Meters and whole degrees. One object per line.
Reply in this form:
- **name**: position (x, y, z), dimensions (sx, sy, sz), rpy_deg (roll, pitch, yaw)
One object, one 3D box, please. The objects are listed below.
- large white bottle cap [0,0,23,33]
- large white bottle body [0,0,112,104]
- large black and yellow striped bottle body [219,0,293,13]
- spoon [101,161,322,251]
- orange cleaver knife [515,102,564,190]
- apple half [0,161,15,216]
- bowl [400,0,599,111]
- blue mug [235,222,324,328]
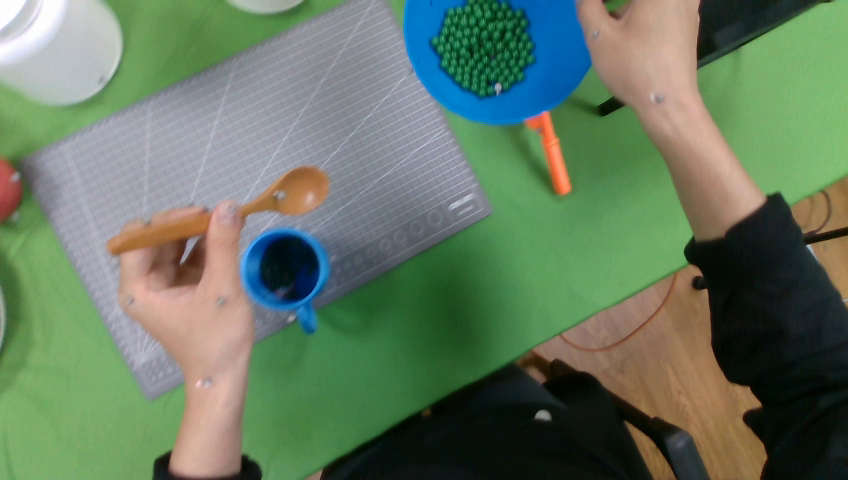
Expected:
- **large white bottle cap**: position (-0.394, -0.218, 0.500), dimensions (0.115, 0.018, 0.114), rpy_deg (0, 90, -7)
- **large white bottle body**: position (-0.403, -0.216, 0.584), dimensions (0.131, 0.184, 0.130), rpy_deg (0, 89, -7)
- **large black and yellow striped bottle body**: position (-0.186, -0.326, 0.613), dimensions (0.131, 0.184, 0.130), rpy_deg (0, 89, -6)
- **spoon**: position (-0.136, -0.024, 0.428), dimensions (0.021, 0.194, 0.042), rpy_deg (21, 114, 19)
- **orange cleaver knife**: position (0.120, -0.153, 0.700), dimensions (0.012, 0.076, 0.213), rpy_deg (-30, 124, -7)
- **apple half**: position (-0.465, -0.045, 0.632), dimensions (0.081, 0.074, 0.053), rpy_deg (-43, 99, -9)
- **bowl**: position (0.059, -0.176, 0.492), dimensions (0.151, 0.077, 0.151), rpy_deg (0, 96, 3)
- **blue mug**: position (-0.146, 0.040, 0.654), dimensions (0.082, 0.105, 0.116), rpy_deg (-21, 92, -7)
